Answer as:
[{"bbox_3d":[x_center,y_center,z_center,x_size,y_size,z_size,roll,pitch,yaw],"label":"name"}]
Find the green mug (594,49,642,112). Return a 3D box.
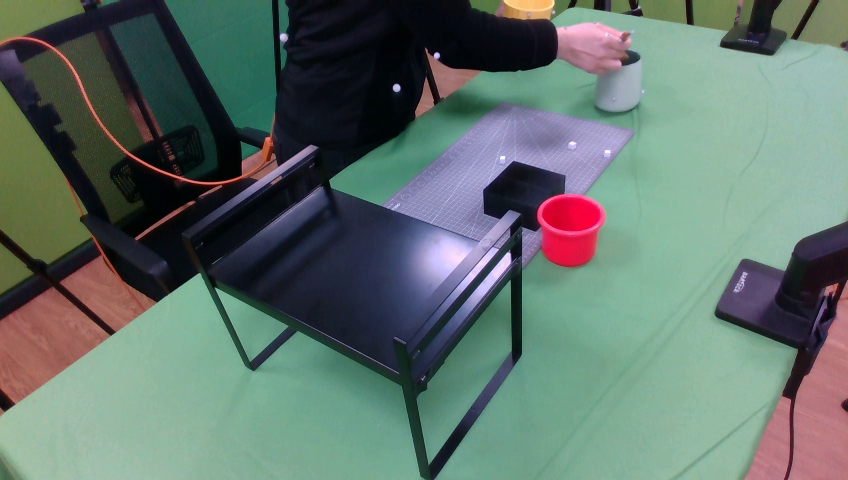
[{"bbox_3d":[0.397,-0.333,1.240,0.092,0.105,0.125,-3,41,7],"label":"green mug"}]

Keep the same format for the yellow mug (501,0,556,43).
[{"bbox_3d":[0.203,-0.450,1.199,0.100,0.064,0.130,0,43,-3],"label":"yellow mug"}]

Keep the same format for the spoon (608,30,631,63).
[{"bbox_3d":[0.365,-0.356,1.114,0.041,0.021,0.194,1,0,14],"label":"spoon"}]
